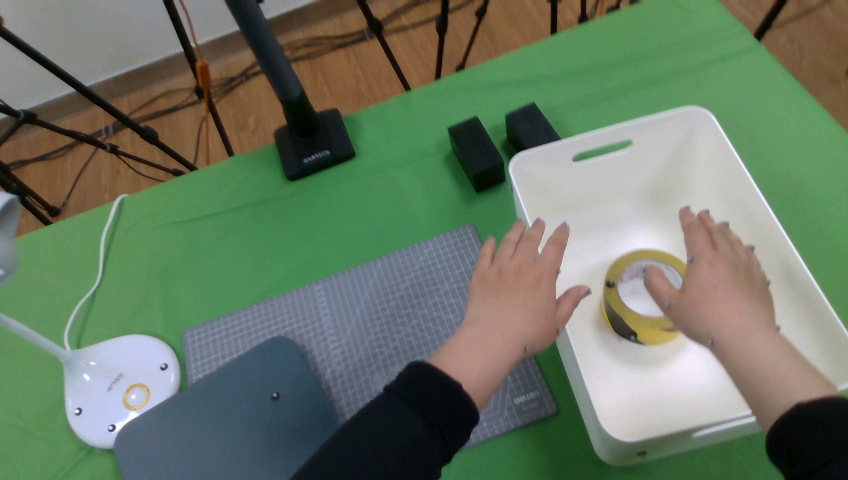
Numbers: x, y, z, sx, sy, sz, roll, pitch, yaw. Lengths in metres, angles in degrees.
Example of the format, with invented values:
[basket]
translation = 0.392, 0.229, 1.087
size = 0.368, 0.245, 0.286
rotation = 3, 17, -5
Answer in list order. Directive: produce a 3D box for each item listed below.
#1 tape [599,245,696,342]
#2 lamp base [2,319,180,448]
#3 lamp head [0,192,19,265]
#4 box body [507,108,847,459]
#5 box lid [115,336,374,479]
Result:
[tape]
translation = 0.279, 0.066, 0.764
size = 0.117, 0.053, 0.116
rotation = -4, 59, 8
[lamp base]
translation = -0.437, 0.163, 0.772
size = 0.178, 0.182, 0.159
rotation = 13, 62, 21
[lamp head]
translation = -0.437, -0.005, 0.523
size = 0.123, 0.112, 0.111
rotation = 18, 58, -18
[box body]
translation = 0.268, 0.049, 0.718
size = 0.254, 0.162, 0.360
rotation = -15, 57, 1
[box lid]
translation = -0.201, 0.312, 0.728
size = 0.263, 0.015, 0.368
rotation = -32, 61, -11
